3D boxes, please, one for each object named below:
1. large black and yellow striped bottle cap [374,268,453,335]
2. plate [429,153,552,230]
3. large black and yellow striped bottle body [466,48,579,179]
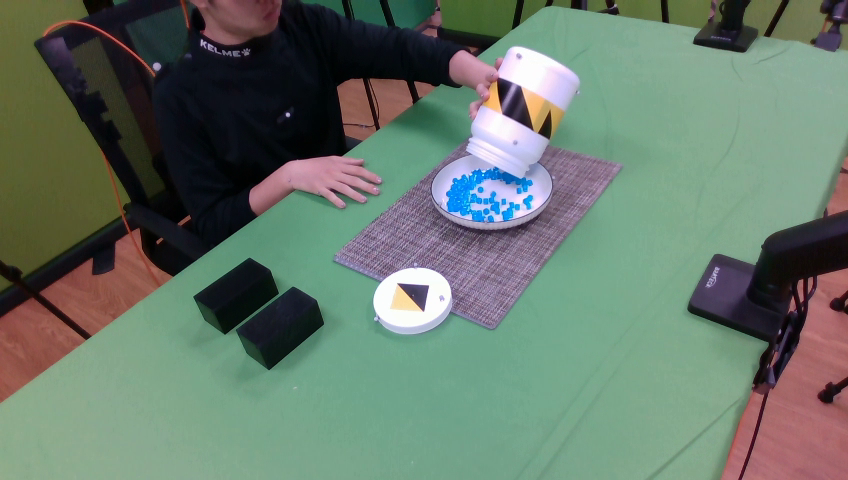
[{"bbox_3d":[-0.015,0.087,0.871,0.115,0.019,0.114,-6,43,6],"label":"large black and yellow striped bottle cap"},{"bbox_3d":[0.113,-0.082,1.032,0.207,0.039,0.206,-4,41,4],"label":"plate"},{"bbox_3d":[0.158,-0.206,1.000,0.131,0.184,0.130,26,11,-5],"label":"large black and yellow striped bottle body"}]
